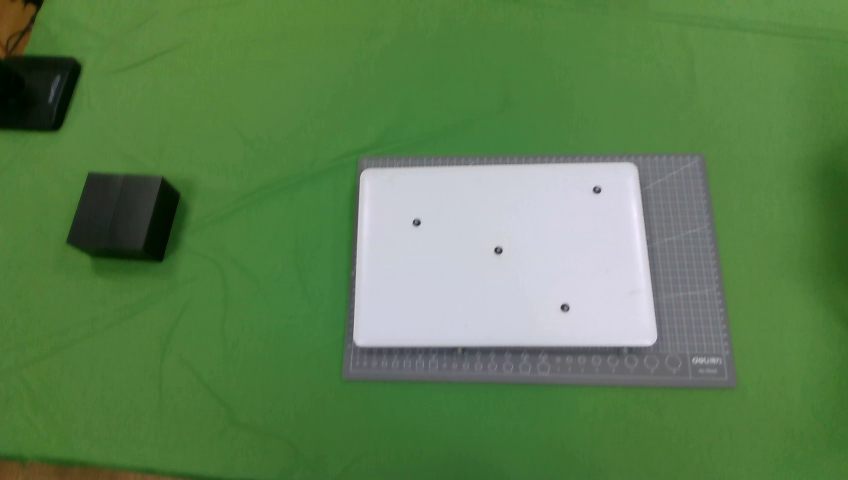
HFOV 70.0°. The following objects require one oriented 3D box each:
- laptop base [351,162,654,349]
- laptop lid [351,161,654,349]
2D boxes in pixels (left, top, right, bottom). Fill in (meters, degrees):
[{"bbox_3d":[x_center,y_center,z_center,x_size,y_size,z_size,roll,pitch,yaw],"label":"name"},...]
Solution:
[{"bbox_3d":[0.090,0.016,0.747,0.354,0.023,0.234,-1,73,3],"label":"laptop base"},{"bbox_3d":[0.089,0.014,0.735,0.356,0.013,0.240,0,72,4],"label":"laptop lid"}]
